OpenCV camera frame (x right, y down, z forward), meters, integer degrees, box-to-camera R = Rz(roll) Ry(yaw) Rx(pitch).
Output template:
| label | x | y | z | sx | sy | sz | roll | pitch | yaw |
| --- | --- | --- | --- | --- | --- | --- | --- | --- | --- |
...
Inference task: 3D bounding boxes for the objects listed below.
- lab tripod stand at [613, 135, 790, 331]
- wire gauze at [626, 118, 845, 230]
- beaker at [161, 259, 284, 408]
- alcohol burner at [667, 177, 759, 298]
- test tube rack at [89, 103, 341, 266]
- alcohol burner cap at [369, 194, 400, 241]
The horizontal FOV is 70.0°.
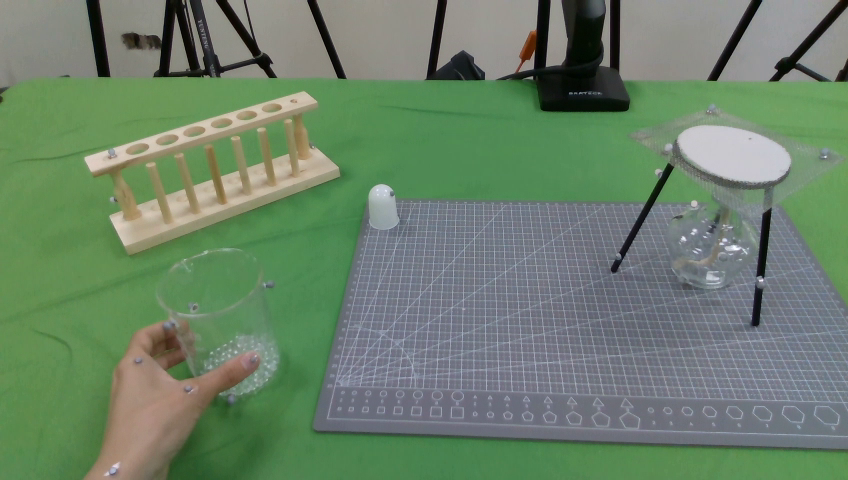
| label | x | y | z | sx | sy | sz | roll | pitch | yaw |
| --- | --- | --- | --- | --- | --- | --- | --- | --- | --- |
| lab tripod stand | 0.253 | -0.011 | 0.529 | 0.148 | 0.132 | 0.147 | 0 | 39 | 0 |
| wire gauze | 0.246 | -0.063 | 0.486 | 0.122 | 0.011 | 0.123 | -22 | 44 | -25 |
| beaker | -0.153 | 0.074 | 0.471 | 0.083 | 0.101 | 0.074 | 30 | 48 | 35 |
| alcohol burner | 0.261 | -0.007 | 0.539 | 0.078 | 0.120 | 0.077 | -1 | 41 | 1 |
| test tube rack | -0.217 | -0.067 | 0.663 | 0.243 | 0.086 | 0.066 | -25 | 43 | -26 |
| alcohol burner cap | -0.042 | -0.026 | 0.634 | 0.034 | 0.048 | 0.033 | -1 | 39 | 1 |
